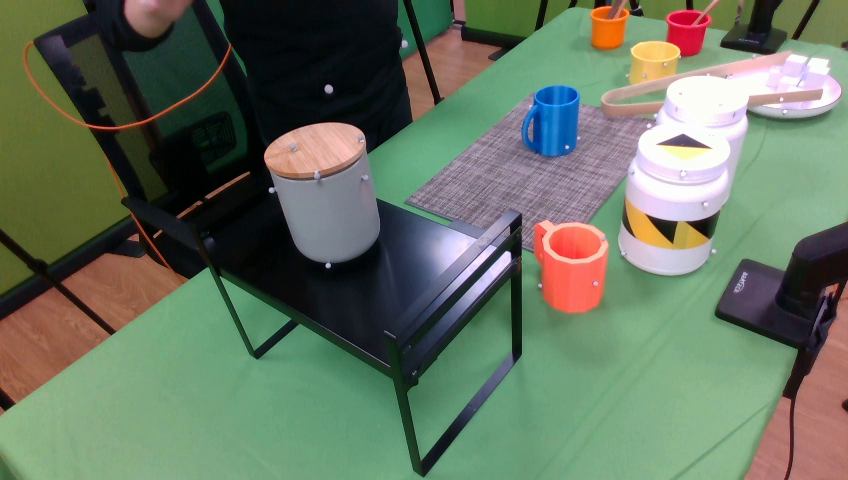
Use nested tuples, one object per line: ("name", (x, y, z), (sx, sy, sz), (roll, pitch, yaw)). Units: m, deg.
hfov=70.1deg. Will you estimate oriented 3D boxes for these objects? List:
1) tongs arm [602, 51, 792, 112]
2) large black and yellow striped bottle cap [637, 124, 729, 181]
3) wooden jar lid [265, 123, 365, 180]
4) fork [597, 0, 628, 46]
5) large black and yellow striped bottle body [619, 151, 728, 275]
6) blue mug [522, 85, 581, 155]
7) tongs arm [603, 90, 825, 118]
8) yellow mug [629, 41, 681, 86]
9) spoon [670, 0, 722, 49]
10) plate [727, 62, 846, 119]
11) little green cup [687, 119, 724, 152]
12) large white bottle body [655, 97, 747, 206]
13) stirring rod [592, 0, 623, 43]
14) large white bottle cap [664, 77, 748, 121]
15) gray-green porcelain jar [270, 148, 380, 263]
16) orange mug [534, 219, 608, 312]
("tongs arm", (0.552, -0.320, 1.224), (0.384, 0.027, 0.050), (-10, 43, 7))
("large black and yellow striped bottle cap", (0.346, -0.119, 0.810), (0.115, 0.019, 0.114), (-5, 41, 5))
("wooden jar lid", (-0.115, -0.092, 0.651), (0.108, 0.021, 0.108), (-5, 38, 4))
("fork", (0.479, -0.558, 1.455), (0.028, 0.019, 0.207), (35, 100, 38))
("large black and yellow striped bottle body", (0.354, -0.056, 0.865), (0.131, 0.185, 0.130), (-4, 41, 4))
("blue mug", (0.233, -0.218, 1.127), (0.117, 0.106, 0.081), (-23, 43, -16))
("tongs arm", (0.546, -0.262, 1.163), (0.386, 0.028, 0.028), (-1, 49, 18))
("yellow mug", (0.495, -0.389, 1.321), (0.100, 0.064, 0.130), (-14, 40, -6))
("spoon", (0.639, -0.510, 1.380), (0.193, 0.022, 0.041), (-49, 40, 19))
("plate", (0.709, -0.292, 1.197), (0.207, 0.039, 0.206), (-4, 40, 4))
("little green cup", (0.513, -0.191, 1.109), (0.061, 0.039, 0.061), (-4, 40, 4))
("large white bottle body", (0.430, -0.148, 0.959), (0.130, 0.185, 0.130), (-4, 41, 4))
("stirring rod", (0.460, -0.557, 1.461), (0.014, 0.176, 0.006), (35, 11, 22))
("large white bottle cap", (0.421, -0.212, 0.905), (0.115, 0.018, 0.114), (-4, 40, 4))
("gray-green porcelain jar", (-0.109, -0.045, 0.692), (0.106, 0.127, 0.105), (-4, 40, 4))
("orange mug", (0.200, 0.027, 0.858), (0.084, 0.101, 0.125), (-24, 47, -18))
